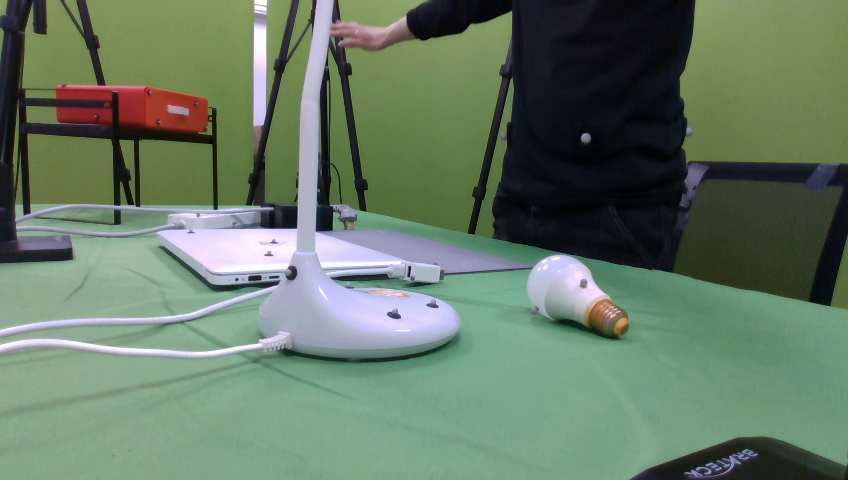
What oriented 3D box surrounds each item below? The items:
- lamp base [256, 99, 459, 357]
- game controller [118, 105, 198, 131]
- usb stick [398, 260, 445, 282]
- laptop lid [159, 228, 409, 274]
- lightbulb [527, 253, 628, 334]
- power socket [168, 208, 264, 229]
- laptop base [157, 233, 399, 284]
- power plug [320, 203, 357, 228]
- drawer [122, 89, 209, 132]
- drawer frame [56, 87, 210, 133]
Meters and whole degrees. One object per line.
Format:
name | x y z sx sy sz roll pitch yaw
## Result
lamp base | -0.055 -0.013 0.463 0.160 0.180 0.180 6 11 27
game controller | -0.554 -0.253 1.254 0.097 0.051 0.155 6 11 19
usb stick | -0.001 0.036 0.696 0.027 0.021 0.059 8 0 43
laptop lid | -0.201 0.007 0.806 0.243 0.013 0.355 -1 8 -31
lightbulb | 0.137 0.050 0.535 0.060 0.059 0.107 -3 24 -33
power socket | -0.381 -0.038 1.128 0.072 0.032 0.227 4 8 16
laptop base | -0.204 0.019 0.806 0.237 0.023 0.352 0 7 -33
power plug | -0.170 -0.046 1.209 0.073 0.052 0.035 -6 -18 -10
drawer | -0.595 -0.268 1.263 0.211 0.073 0.195 4 8 15
drawer frame | -0.598 -0.269 1.261 0.213 0.082 0.202 4 8 14
